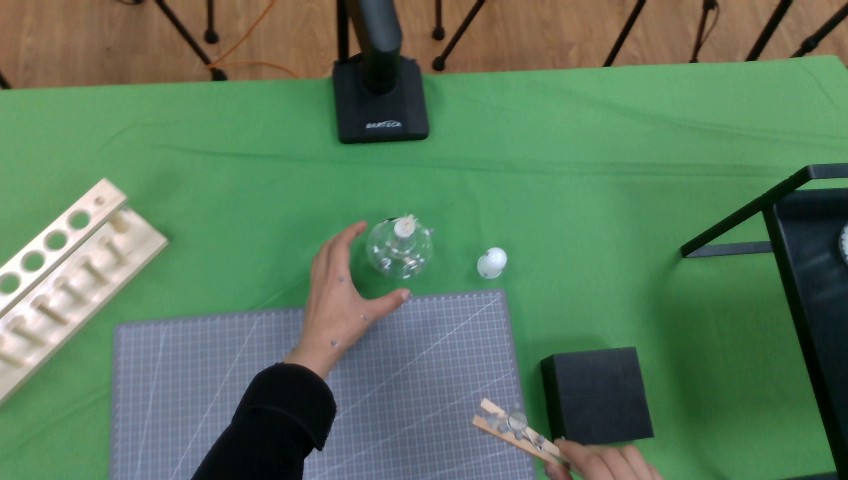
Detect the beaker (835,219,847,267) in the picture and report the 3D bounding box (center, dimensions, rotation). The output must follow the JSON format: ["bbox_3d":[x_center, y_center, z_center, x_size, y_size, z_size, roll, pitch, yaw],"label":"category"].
[{"bbox_3d":[0.461,-0.007,0.585,0.084,0.100,0.073,24,69,1],"label":"beaker"}]

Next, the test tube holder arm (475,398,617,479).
[{"bbox_3d":[0.122,0.184,0.512,0.178,0.015,0.013,29,81,7],"label":"test tube holder arm"}]

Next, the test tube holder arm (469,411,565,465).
[{"bbox_3d":[0.080,0.169,0.516,0.087,0.015,0.010,23,80,6],"label":"test tube holder arm"}]

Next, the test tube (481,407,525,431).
[{"bbox_3d":[0.062,0.150,0.504,0.017,0.151,0.017,1,72,-2],"label":"test tube"}]

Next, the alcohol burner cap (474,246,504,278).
[{"bbox_3d":[0.081,0.025,0.740,0.034,0.048,0.033,3,70,-8],"label":"alcohol burner cap"}]

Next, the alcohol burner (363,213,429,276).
[{"bbox_3d":[-0.030,-0.001,0.693,0.078,0.119,0.077,3,69,-9],"label":"alcohol burner"}]

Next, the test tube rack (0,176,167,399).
[{"bbox_3d":[-0.395,0.052,0.634,0.066,0.085,0.242,38,70,6],"label":"test tube rack"}]
